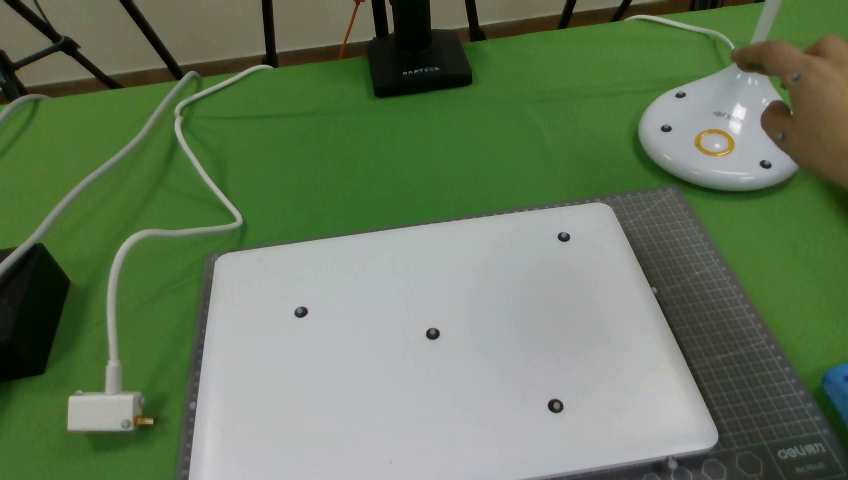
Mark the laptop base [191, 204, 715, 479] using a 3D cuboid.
[{"bbox_3d":[0.008,0.080,0.472,0.355,0.023,0.233,-8,51,-3],"label":"laptop base"}]

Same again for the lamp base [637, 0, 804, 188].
[{"bbox_3d":[0.301,-0.170,0.571,0.160,0.182,0.178,18,49,20],"label":"lamp base"}]

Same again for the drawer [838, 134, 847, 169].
[{"bbox_3d":[0.507,-0.045,0.508,0.194,0.074,0.209,-9,47,-3],"label":"drawer"}]

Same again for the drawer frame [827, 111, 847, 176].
[{"bbox_3d":[0.505,-0.047,0.509,0.202,0.083,0.211,-10,47,-4],"label":"drawer frame"}]

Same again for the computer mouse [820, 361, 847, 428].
[{"bbox_3d":[0.320,0.125,0.396,0.063,0.041,0.116,-8,43,-1],"label":"computer mouse"}]

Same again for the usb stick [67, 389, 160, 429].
[{"bbox_3d":[-0.223,0.122,0.439,0.059,0.021,0.027,5,84,-7],"label":"usb stick"}]

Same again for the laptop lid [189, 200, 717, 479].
[{"bbox_3d":[0.008,0.074,0.461,0.357,0.013,0.239,-7,49,-2],"label":"laptop lid"}]
